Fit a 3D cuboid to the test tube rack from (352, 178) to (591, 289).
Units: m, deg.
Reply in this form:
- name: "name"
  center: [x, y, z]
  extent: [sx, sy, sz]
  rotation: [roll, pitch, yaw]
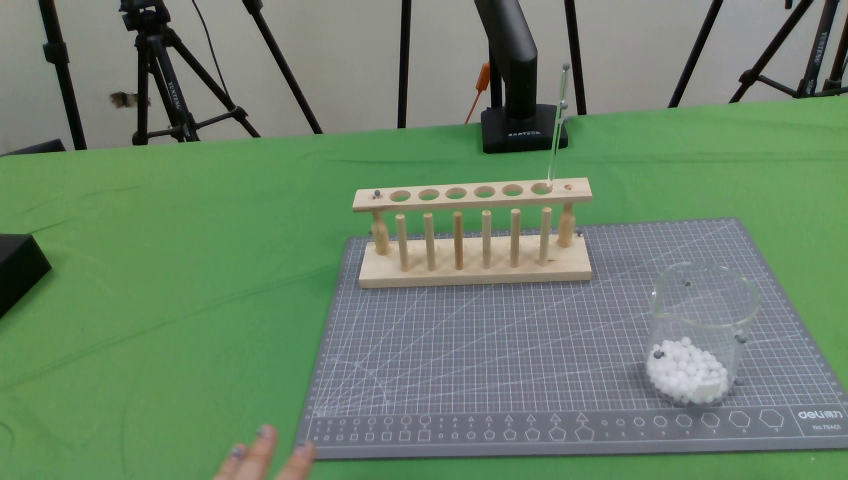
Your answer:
- name: "test tube rack"
  center: [0.049, -0.006, 0.635]
  extent: [0.242, 0.086, 0.066]
  rotation: [-2, 37, 6]

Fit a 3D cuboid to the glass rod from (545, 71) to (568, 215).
- name: "glass rod"
  center: [0.128, -0.070, 0.596]
  extent: [0.008, 0.201, 0.008]
  rotation: [-1, 38, 1]

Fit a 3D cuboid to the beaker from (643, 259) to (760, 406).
- name: "beaker"
  center: [0.215, 0.078, 0.486]
  extent: [0.084, 0.101, 0.073]
  rotation: [-14, 37, -8]
